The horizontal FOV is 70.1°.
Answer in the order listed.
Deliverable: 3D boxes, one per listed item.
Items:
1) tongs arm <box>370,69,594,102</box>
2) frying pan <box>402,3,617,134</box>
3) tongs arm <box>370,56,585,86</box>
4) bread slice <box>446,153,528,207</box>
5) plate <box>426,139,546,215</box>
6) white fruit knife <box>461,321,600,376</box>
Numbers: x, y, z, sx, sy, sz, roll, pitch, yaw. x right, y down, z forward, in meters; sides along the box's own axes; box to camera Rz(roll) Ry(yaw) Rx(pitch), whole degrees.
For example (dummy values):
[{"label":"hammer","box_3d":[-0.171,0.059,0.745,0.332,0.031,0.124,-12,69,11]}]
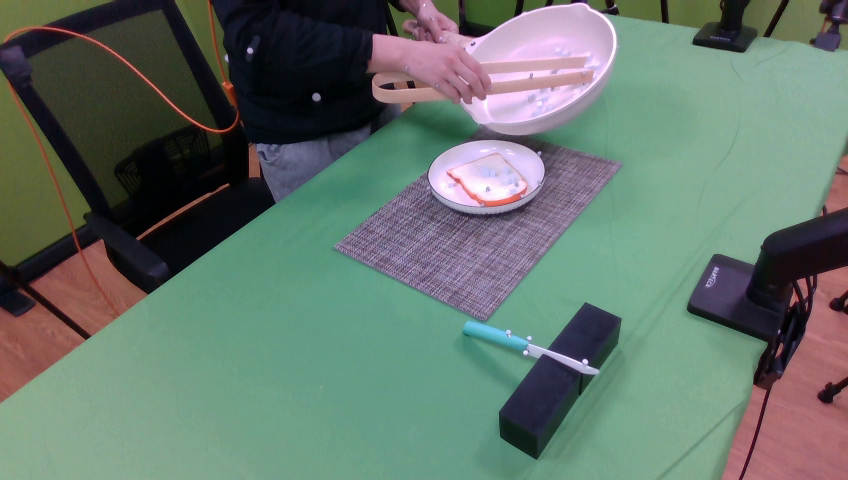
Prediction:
[{"label":"tongs arm","box_3d":[0.102,-0.271,1.031,0.386,0.026,0.050,-10,52,-11]},{"label":"frying pan","box_3d":[0.131,-0.350,1.150,0.484,0.103,0.307,34,76,33]},{"label":"tongs arm","box_3d":[0.097,-0.292,1.049,0.389,0.028,0.028,-8,55,-9]},{"label":"bread slice","box_3d":[0.117,-0.104,1.057,0.107,0.018,0.133,-24,41,-17]},{"label":"plate","box_3d":[0.109,-0.107,1.058,0.207,0.039,0.206,-4,40,4]},{"label":"white fruit knife","box_3d":[0.125,0.133,0.751,0.205,0.027,0.016,12,43,42]}]
